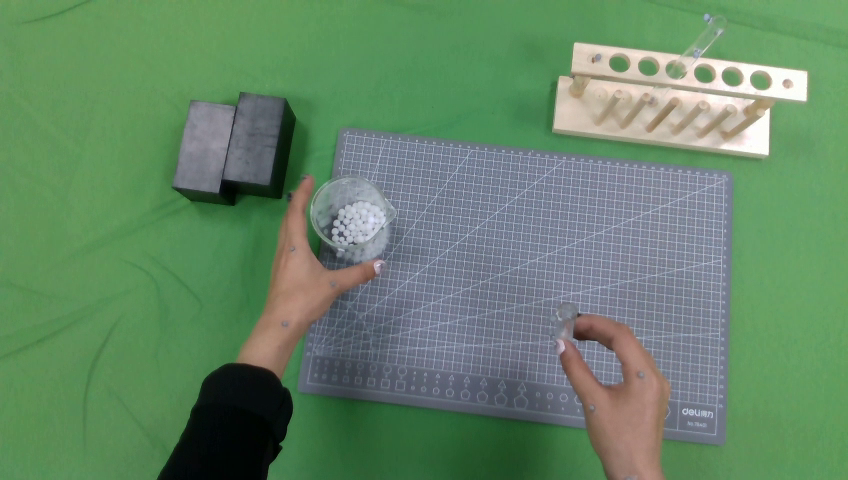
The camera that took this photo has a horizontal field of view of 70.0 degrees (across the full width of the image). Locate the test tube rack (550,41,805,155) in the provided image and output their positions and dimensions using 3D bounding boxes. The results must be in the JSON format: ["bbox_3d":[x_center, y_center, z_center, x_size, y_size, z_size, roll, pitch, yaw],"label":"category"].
[{"bbox_3d":[0.269,-0.153,0.662,0.242,0.085,0.066,7,78,2],"label":"test tube rack"}]

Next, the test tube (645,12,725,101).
[{"bbox_3d":[0.261,-0.181,0.618,0.017,0.151,0.017,1,76,-3],"label":"test tube"}]

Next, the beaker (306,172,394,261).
[{"bbox_3d":[-0.071,-0.020,0.625,0.084,0.100,0.073,-1,79,-1],"label":"beaker"}]

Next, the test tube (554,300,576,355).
[{"bbox_3d":[0.123,0.080,0.535,0.017,0.152,0.017,-4,68,10],"label":"test tube"}]
